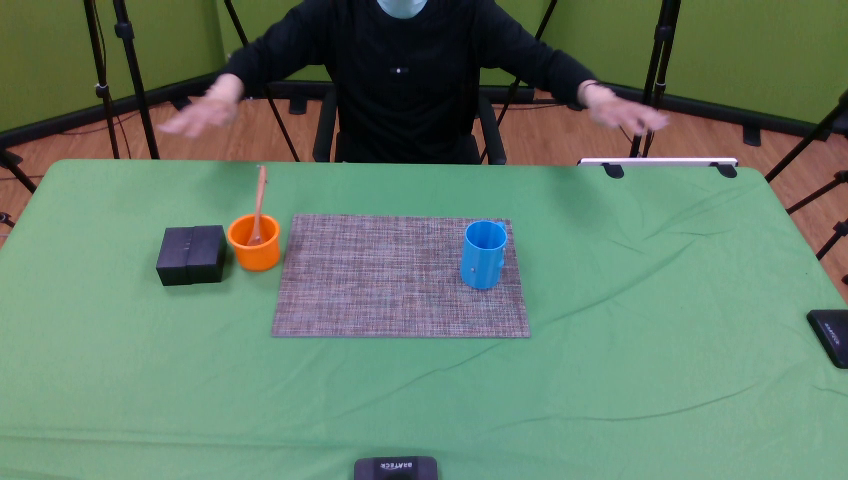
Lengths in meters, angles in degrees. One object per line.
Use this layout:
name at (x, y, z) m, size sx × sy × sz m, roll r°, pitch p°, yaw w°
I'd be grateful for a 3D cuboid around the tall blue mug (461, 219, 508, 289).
tall blue mug at (0.111, 0.016, 1.122) m, size 0.078 × 0.108 × 0.106 m, roll 6°, pitch 46°, yaw 4°

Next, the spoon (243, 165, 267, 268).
spoon at (-0.309, -0.044, 1.130) m, size 0.041 × 0.193 × 0.021 m, roll 7°, pitch 1°, yaw 6°
